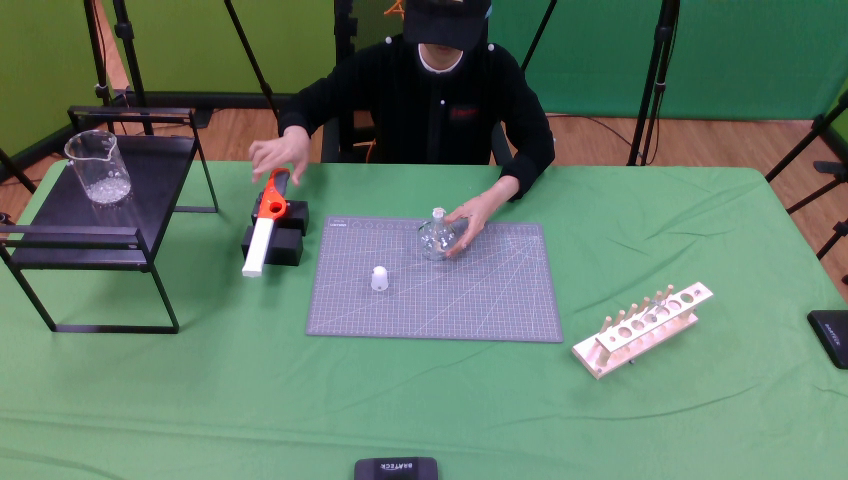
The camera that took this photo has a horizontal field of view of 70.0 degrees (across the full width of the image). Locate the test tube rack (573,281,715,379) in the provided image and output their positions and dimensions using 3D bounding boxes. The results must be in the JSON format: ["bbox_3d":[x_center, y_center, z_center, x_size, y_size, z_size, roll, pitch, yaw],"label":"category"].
[{"bbox_3d":[0.378,0.140,1.038,0.242,0.085,0.066,-22,51,-23],"label":"test tube rack"}]

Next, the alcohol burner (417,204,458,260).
[{"bbox_3d":[0.026,-0.019,1.147,0.078,0.120,0.077,0,45,0],"label":"alcohol burner"}]

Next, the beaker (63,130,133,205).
[{"bbox_3d":[-0.511,-0.112,0.964,0.083,0.101,0.074,31,52,23],"label":"beaker"}]

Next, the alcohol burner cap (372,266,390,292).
[{"bbox_3d":[-0.080,0.069,1.104,0.034,0.048,0.033,0,46,0],"label":"alcohol burner cap"}]

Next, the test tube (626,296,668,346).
[{"bbox_3d":[0.352,0.133,0.970,0.017,0.151,0.017,3,54,-4],"label":"test tube"}]

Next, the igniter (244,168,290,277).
[{"bbox_3d":[-0.295,-0.043,1.147,0.057,0.025,0.275,4,48,-3],"label":"igniter"}]
